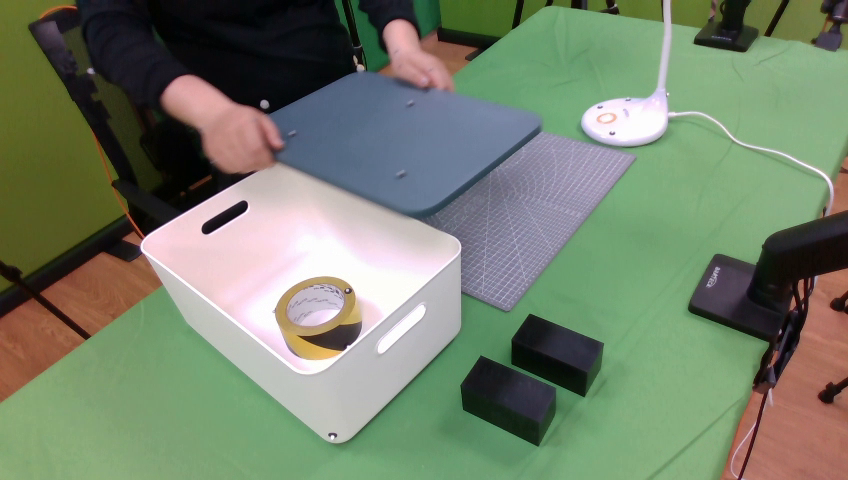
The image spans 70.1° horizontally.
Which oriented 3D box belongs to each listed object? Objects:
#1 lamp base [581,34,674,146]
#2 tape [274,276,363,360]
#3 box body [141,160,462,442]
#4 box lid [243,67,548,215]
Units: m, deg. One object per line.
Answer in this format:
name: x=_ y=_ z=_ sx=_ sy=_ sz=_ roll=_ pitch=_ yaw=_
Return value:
lamp base: x=0.392 y=-0.291 z=1.129 sx=0.180 sy=0.181 sz=0.159 roll=-11 pitch=41 yaw=-8
tape: x=-0.144 y=0.106 z=0.833 sx=0.117 sy=0.053 sz=0.116 roll=-4 pitch=41 yaw=4
box body: x=-0.153 y=0.063 z=0.809 sx=0.361 sy=0.161 sz=0.255 roll=27 pitch=51 yaw=33
box lid: x=-0.045 y=-0.152 z=0.822 sx=0.368 sy=0.015 sz=0.264 roll=24 pitch=49 yaw=34
